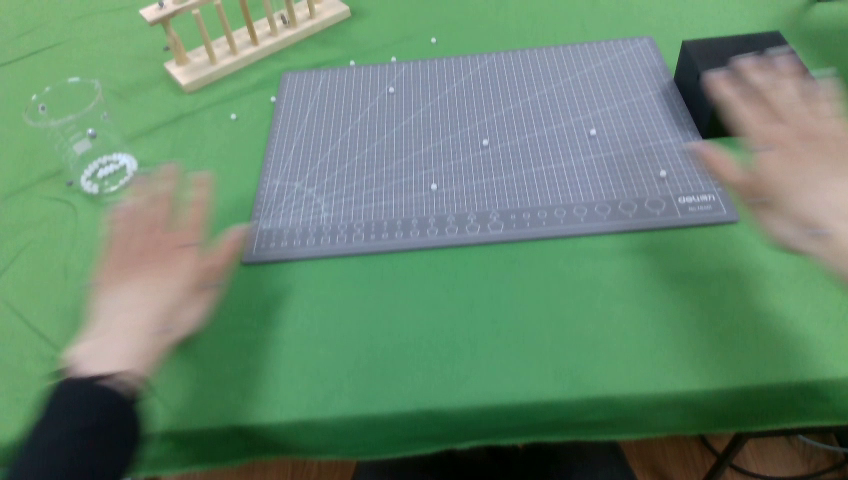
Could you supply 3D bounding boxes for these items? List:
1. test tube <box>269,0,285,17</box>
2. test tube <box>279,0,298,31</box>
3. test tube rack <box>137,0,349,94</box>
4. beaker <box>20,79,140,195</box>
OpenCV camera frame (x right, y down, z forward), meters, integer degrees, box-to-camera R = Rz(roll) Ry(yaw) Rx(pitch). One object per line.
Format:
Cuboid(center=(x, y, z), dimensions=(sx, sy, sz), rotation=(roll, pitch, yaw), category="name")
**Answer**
Cuboid(center=(-0.203, -0.350, 0.754), dimensions=(0.017, 0.152, 0.017), rotation=(-5, 47, 6), category="test tube")
Cuboid(center=(-0.178, -0.326, 0.738), dimensions=(0.017, 0.152, 0.017), rotation=(-2, 48, 3), category="test tube")
Cuboid(center=(-0.220, -0.285, 0.767), dimensions=(0.242, 0.086, 0.066), rotation=(-33, 54, -20), category="test tube rack")
Cuboid(center=(-0.344, -0.103, 0.620), dimensions=(0.073, 0.101, 0.083), rotation=(17, 53, 19), category="beaker")
